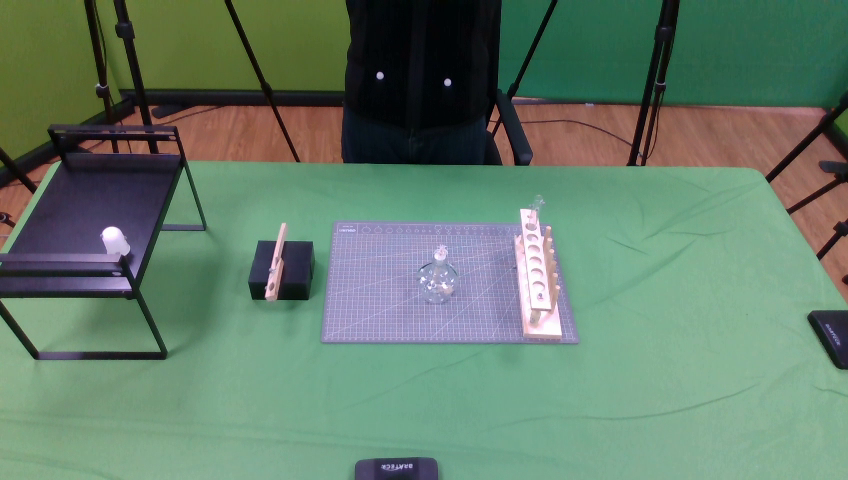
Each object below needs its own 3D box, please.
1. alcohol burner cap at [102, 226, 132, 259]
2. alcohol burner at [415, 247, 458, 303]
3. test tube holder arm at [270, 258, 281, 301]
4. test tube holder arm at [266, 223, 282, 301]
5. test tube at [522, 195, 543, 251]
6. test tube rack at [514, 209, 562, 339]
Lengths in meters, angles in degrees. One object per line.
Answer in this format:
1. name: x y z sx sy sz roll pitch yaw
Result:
1. alcohol burner cap: -0.457 0.001 0.897 0.034 0.048 0.033 2 46 -1
2. alcohol burner: 0.024 0.057 1.078 0.078 0.119 0.077 3 44 -2
3. test tube holder arm: -0.257 0.067 1.049 0.010 0.015 0.087 -4 46 -1
4. test tube holder arm: -0.266 0.035 1.080 0.013 0.015 0.177 -5 46 -2
5. test tube: 0.200 -0.028 1.125 0.017 0.151 0.017 1 50 -1
6. test tube rack: 0.212 0.056 1.113 0.067 0.085 0.241 3 46 -1
